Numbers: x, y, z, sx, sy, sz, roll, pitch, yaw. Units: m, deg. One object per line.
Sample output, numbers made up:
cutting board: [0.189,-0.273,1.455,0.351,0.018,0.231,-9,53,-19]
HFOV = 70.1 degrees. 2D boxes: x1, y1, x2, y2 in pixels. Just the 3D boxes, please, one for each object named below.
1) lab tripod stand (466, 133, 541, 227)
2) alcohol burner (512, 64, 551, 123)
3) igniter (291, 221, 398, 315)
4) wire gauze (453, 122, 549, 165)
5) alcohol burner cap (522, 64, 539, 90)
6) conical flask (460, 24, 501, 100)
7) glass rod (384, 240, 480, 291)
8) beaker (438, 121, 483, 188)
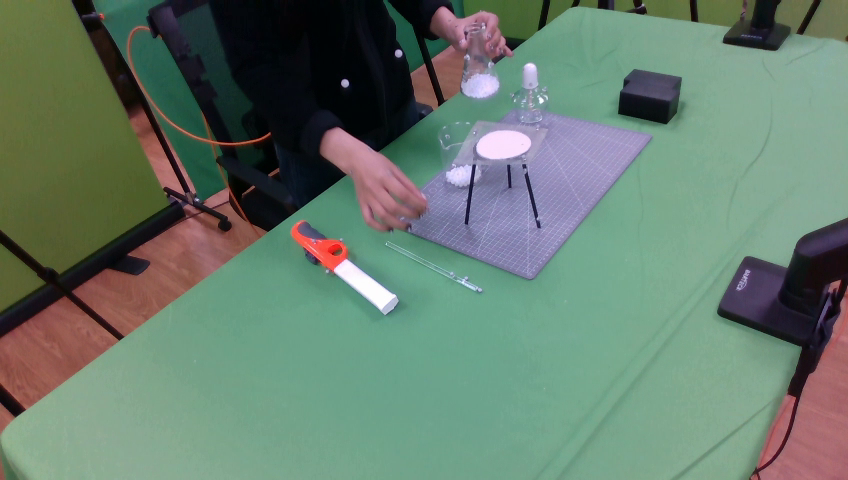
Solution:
lab tripod stand: [0.129,-0.099,0.985,0.148,0.132,0.147,-6,38,6]
alcohol burner: [0.215,-0.298,1.220,0.078,0.120,0.077,-7,40,7]
igniter: [-0.136,0.037,0.962,0.057,0.025,0.274,-41,48,-18]
wire gauze: [0.121,-0.150,0.942,0.121,0.011,0.125,8,42,21]
alcohol burner cap: [0.210,-0.325,1.195,0.034,0.048,0.033,-6,45,7]
conical flask: [0.095,-0.315,1.066,0.075,0.122,0.075,-6,44,6]
glass rod: [0.009,0.037,0.949,0.198,0.008,0.008,26,52,34]
beaker: [0.066,-0.149,1.083,0.073,0.101,0.084,20,49,31]
